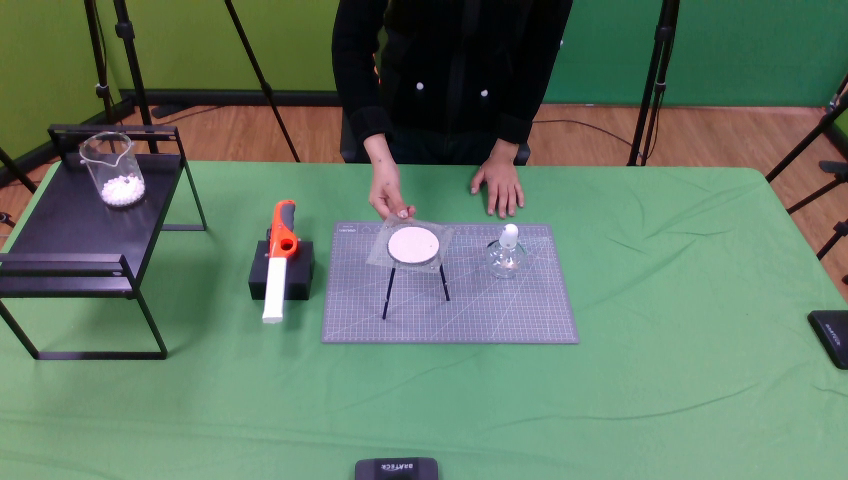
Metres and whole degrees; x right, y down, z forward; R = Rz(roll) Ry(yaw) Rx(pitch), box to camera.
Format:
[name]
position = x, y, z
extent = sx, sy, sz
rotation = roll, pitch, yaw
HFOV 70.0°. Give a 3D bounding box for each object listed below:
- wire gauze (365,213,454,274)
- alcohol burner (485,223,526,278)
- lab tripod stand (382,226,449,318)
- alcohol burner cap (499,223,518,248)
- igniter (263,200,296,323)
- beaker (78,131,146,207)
[wire gauze]
position = -0.022, 0.006, 1.016
extent = 0.121, 0.011, 0.124
rotation = 12, 45, 10
[alcohol burner]
position = 0.154, 0.014, 1.129
extent = 0.078, 0.119, 0.077
rotation = 2, 44, -2
[lab tripod stand]
position = -0.024, 0.055, 1.063
extent = 0.148, 0.132, 0.147
rotation = 2, 48, -3
[alcohol burner cap]
position = 0.156, -0.010, 1.102
extent = 0.034, 0.048, 0.033
rotation = 1, 53, -2
[igniter]
position = -0.260, 0.027, 1.083
extent = 0.057, 0.025, 0.274
rotation = 0, 49, -7
[beaker]
position = -0.488, -0.108, 0.961
extent = 0.074, 0.101, 0.083
rotation = -25, 54, -25
